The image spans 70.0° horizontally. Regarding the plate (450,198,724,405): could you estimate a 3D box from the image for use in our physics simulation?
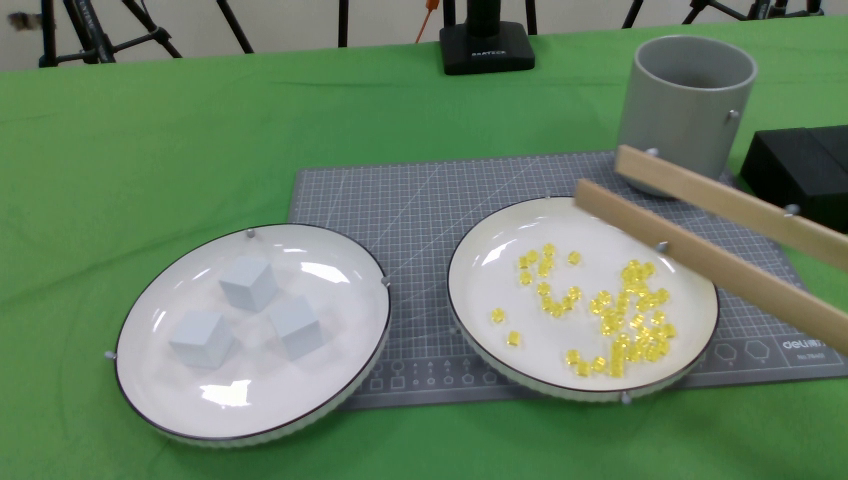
[{"bbox_3d":[0.125,0.045,0.486,0.207,0.039,0.205,-2,43,2],"label":"plate"}]

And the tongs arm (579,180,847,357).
[{"bbox_3d":[0.252,0.056,0.326,0.384,0.028,0.028,32,51,28],"label":"tongs arm"}]

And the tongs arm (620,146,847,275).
[{"bbox_3d":[0.275,0.039,0.342,0.381,0.027,0.050,31,54,27],"label":"tongs arm"}]

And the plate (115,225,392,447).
[{"bbox_3d":[-0.127,0.070,0.476,0.209,0.038,0.207,-3,44,3],"label":"plate"}]

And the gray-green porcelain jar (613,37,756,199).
[{"bbox_3d":[0.241,-0.111,0.579,0.106,0.128,0.105,-2,43,2],"label":"gray-green porcelain jar"}]
